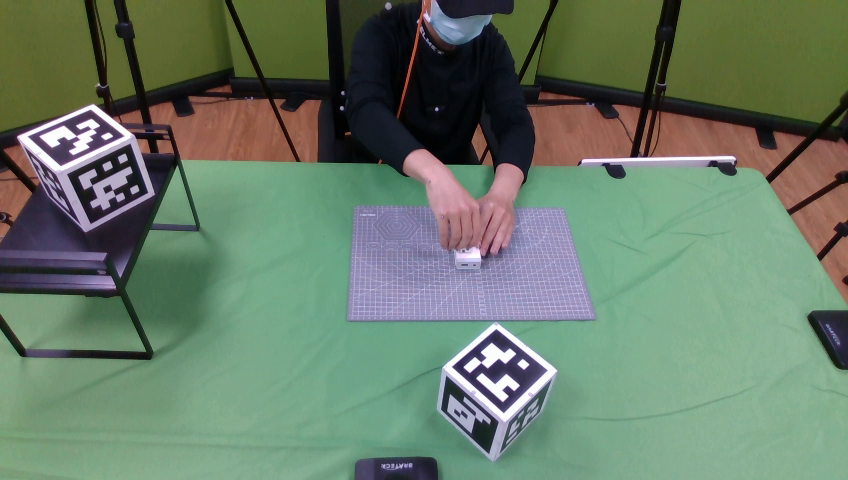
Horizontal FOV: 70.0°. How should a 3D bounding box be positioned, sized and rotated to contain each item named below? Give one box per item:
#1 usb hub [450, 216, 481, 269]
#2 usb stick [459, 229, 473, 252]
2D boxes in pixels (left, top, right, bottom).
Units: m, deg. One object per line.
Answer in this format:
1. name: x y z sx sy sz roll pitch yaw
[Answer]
1. usb hub: 0.082 0.004 1.194 0.049 0.025 0.124 0 46 -5
2. usb stick: 0.080 0.006 1.151 0.027 0.059 0.021 -2 45 -3
